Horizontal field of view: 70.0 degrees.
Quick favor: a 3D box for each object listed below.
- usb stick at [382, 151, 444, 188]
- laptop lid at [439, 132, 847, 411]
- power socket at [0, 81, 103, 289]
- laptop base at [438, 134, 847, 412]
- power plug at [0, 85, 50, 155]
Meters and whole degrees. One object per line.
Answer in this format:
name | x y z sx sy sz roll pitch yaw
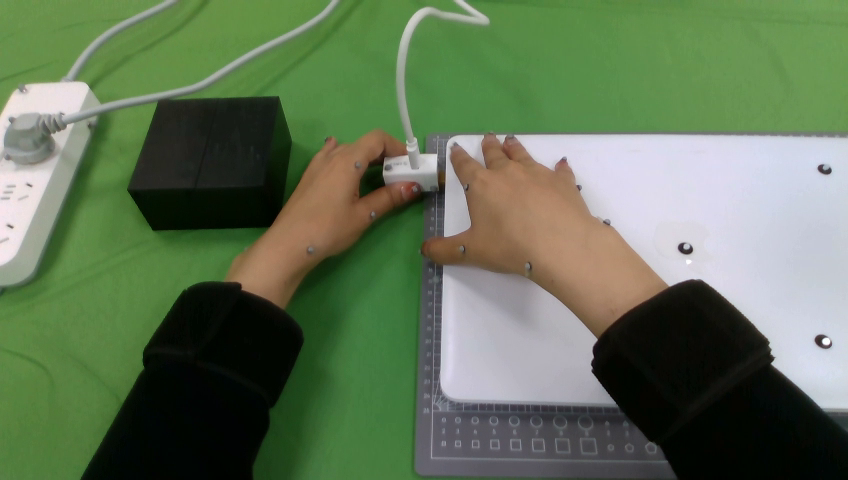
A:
usb stick | -0.004 -0.057 0.493 0.059 0.027 0.021 2 63 1
laptop lid | 0.189 0.008 0.440 0.356 0.013 0.239 2 57 3
power socket | -0.333 -0.055 0.505 0.072 0.033 0.224 -1 53 -1
laptop base | 0.189 0.013 0.451 0.354 0.023 0.233 1 58 2
power plug | -0.324 -0.100 0.475 0.053 0.073 0.035 10 35 -22
